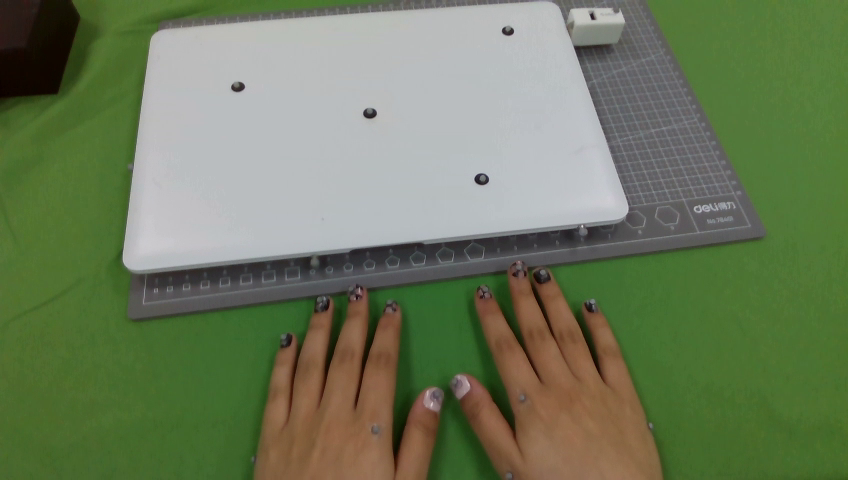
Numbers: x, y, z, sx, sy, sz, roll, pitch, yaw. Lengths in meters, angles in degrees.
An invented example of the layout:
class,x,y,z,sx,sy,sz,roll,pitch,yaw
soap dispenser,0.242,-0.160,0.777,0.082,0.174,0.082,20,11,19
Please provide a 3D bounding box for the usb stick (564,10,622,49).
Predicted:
class,x,y,z,sx,sy,sz,roll,pitch,yaw
usb stick,0.139,-0.183,0.528,0.059,0.027,0.021,-5,60,-2

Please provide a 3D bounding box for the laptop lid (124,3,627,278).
class,x,y,z,sx,sy,sz,roll,pitch,yaw
laptop lid,-0.042,-0.093,0.470,0.357,0.013,0.239,-5,61,-4

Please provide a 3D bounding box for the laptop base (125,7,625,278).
class,x,y,z,sx,sy,sz,roll,pitch,yaw
laptop base,-0.042,-0.089,0.482,0.355,0.023,0.233,-6,62,-5
